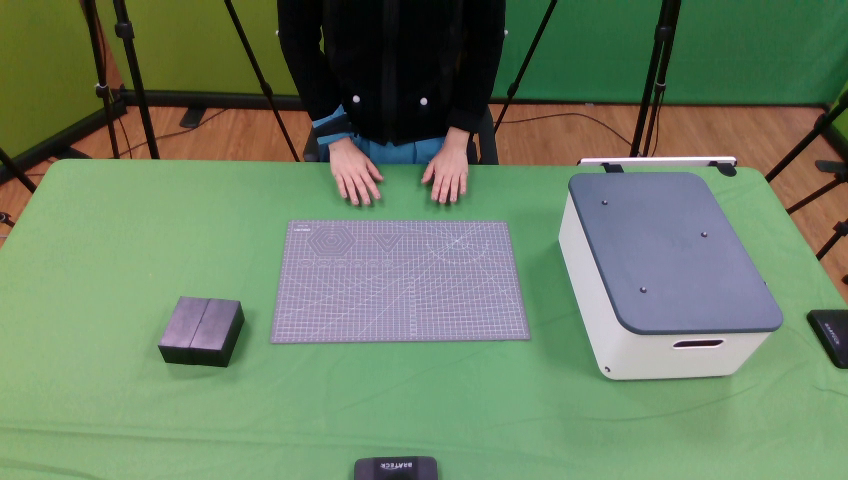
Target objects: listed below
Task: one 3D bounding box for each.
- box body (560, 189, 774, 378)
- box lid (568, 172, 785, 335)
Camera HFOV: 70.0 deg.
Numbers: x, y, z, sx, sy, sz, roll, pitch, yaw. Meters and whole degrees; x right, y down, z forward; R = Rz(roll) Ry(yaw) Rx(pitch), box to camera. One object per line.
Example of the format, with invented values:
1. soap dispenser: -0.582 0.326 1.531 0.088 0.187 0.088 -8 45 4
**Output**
1. box body: 0.405 0.057 1.074 0.254 0.161 0.361 -2 46 -5
2. box lid: 0.407 0.007 1.019 0.263 0.015 0.369 -1 46 -5
